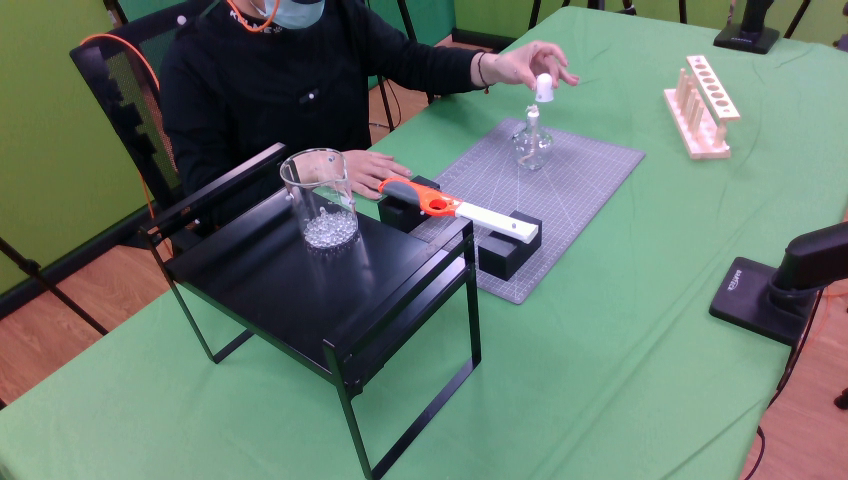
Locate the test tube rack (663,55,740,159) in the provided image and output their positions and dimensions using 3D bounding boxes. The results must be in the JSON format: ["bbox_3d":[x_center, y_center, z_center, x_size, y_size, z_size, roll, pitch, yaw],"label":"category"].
[{"bbox_3d":[0.518,-0.256,1.144,0.066,0.085,0.241,-1,41,8],"label":"test tube rack"}]

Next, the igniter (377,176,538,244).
[{"bbox_3d":[0.046,-0.052,0.942,0.274,0.025,0.057,21,47,27],"label":"igniter"}]

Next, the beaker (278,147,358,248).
[{"bbox_3d":[-0.117,-0.046,0.705,0.083,0.101,0.074,17,47,25],"label":"beaker"}]

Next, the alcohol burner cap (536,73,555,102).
[{"bbox_3d":[0.212,-0.268,1.059,0.034,0.048,0.033,-6,33,4],"label":"alcohol burner cap"}]

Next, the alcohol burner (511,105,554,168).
[{"bbox_3d":[0.196,-0.190,1.089,0.078,0.119,0.077,-3,42,3],"label":"alcohol burner"}]
